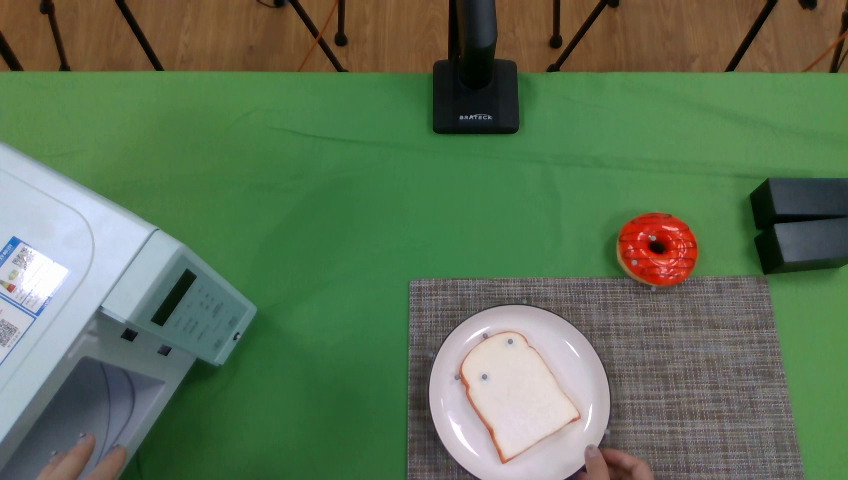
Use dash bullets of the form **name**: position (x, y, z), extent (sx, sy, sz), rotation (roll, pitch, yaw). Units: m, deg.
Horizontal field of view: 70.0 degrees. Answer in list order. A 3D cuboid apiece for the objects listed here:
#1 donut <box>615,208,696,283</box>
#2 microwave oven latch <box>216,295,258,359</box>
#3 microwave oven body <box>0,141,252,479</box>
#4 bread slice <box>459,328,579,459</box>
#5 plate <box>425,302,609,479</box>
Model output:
- **donut**: position (0.289, 0.007, 0.757), extent (0.099, 0.048, 0.098), rotation (-2, 67, 4)
- **microwave oven latch**: position (-0.229, 0.099, 0.718), extent (0.030, 0.030, 0.079), rotation (28, 74, 10)
- **microwave oven body**: position (-0.446, 0.150, 0.601), extent (0.325, 0.262, 0.440), rotation (26, 74, 9)
- **bread slice**: position (0.102, 0.170, 0.704), extent (0.105, 0.019, 0.130), rotation (-29, 73, -10)
- **plate**: position (0.105, 0.176, 0.701), extent (0.208, 0.039, 0.206), rotation (0, 71, 1)
